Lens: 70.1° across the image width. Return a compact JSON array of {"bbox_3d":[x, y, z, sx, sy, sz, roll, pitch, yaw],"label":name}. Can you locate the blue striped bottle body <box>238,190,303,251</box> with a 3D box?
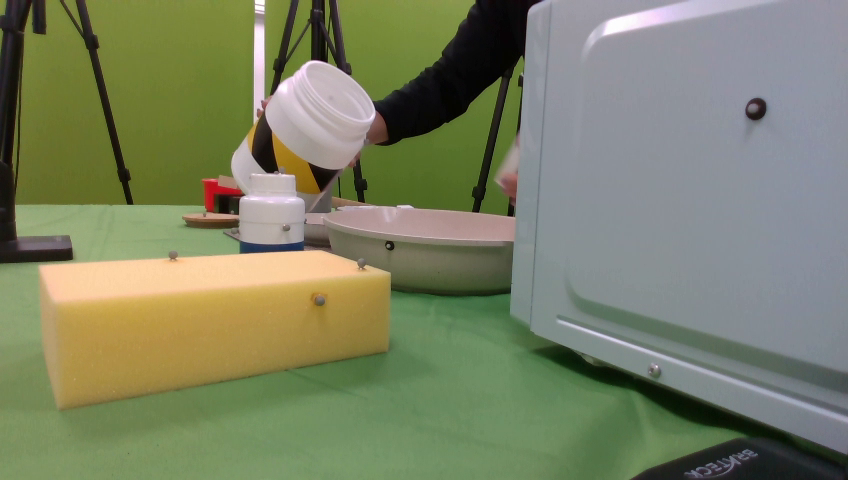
[{"bbox_3d":[-0.153,-0.007,0.605,0.063,0.120,0.063,2,7,0],"label":"blue striped bottle body"}]

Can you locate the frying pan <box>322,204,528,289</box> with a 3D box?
[{"bbox_3d":[0.110,-0.018,0.800,0.490,0.102,0.305,-12,16,-30],"label":"frying pan"}]

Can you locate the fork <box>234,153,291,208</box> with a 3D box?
[{"bbox_3d":[-0.396,-0.143,1.486,0.028,0.018,0.208,20,-26,45],"label":"fork"}]

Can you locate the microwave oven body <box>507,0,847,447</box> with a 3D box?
[{"bbox_3d":[0.331,-0.042,0.425,0.444,0.260,0.324,-2,8,-31],"label":"microwave oven body"}]

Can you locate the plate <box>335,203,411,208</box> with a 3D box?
[{"bbox_3d":[-0.089,-0.053,1.309,0.208,0.039,0.207,2,8,0],"label":"plate"}]

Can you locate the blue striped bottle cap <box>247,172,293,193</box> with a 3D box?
[{"bbox_3d":[-0.152,-0.057,0.598,0.044,0.020,0.044,3,7,0],"label":"blue striped bottle cap"}]

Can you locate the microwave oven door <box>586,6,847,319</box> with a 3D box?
[{"bbox_3d":[0.296,-0.067,0.567,0.358,0.243,0.039,-3,7,-31],"label":"microwave oven door"}]

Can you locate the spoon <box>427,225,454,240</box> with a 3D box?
[{"bbox_3d":[0.024,-0.019,1.124,0.042,0.021,0.193,-16,9,-4],"label":"spoon"}]

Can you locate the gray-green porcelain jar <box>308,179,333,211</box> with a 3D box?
[{"bbox_3d":[-0.238,-0.092,1.221,0.106,0.126,0.106,2,7,0],"label":"gray-green porcelain jar"}]

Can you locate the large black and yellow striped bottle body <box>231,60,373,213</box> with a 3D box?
[{"bbox_3d":[-0.162,-0.136,0.816,0.183,0.130,0.131,-46,-21,31],"label":"large black and yellow striped bottle body"}]

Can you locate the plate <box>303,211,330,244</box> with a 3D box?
[{"bbox_3d":[-0.139,-0.022,1.021,0.209,0.038,0.209,2,8,0],"label":"plate"}]

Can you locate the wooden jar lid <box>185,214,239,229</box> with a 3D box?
[{"bbox_3d":[-0.404,-0.037,1.169,0.108,0.020,0.108,3,7,0],"label":"wooden jar lid"}]

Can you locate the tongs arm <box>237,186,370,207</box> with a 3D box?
[{"bbox_3d":[-0.241,-0.095,1.374,0.387,0.026,0.050,9,1,-37],"label":"tongs arm"}]

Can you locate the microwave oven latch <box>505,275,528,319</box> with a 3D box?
[{"bbox_3d":[0.100,0.042,0.471,0.079,0.029,0.030,-1,7,-28],"label":"microwave oven latch"}]

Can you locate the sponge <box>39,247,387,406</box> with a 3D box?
[{"bbox_3d":[-0.142,0.047,0.420,0.208,0.061,0.117,-3,10,-36],"label":"sponge"}]

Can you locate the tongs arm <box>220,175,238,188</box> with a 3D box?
[{"bbox_3d":[-0.284,-0.106,1.445,0.389,0.027,0.028,10,-3,-23],"label":"tongs arm"}]

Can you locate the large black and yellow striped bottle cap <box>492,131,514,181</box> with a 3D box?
[{"bbox_3d":[0.113,-0.119,0.678,0.019,0.115,0.115,32,12,6],"label":"large black and yellow striped bottle cap"}]
